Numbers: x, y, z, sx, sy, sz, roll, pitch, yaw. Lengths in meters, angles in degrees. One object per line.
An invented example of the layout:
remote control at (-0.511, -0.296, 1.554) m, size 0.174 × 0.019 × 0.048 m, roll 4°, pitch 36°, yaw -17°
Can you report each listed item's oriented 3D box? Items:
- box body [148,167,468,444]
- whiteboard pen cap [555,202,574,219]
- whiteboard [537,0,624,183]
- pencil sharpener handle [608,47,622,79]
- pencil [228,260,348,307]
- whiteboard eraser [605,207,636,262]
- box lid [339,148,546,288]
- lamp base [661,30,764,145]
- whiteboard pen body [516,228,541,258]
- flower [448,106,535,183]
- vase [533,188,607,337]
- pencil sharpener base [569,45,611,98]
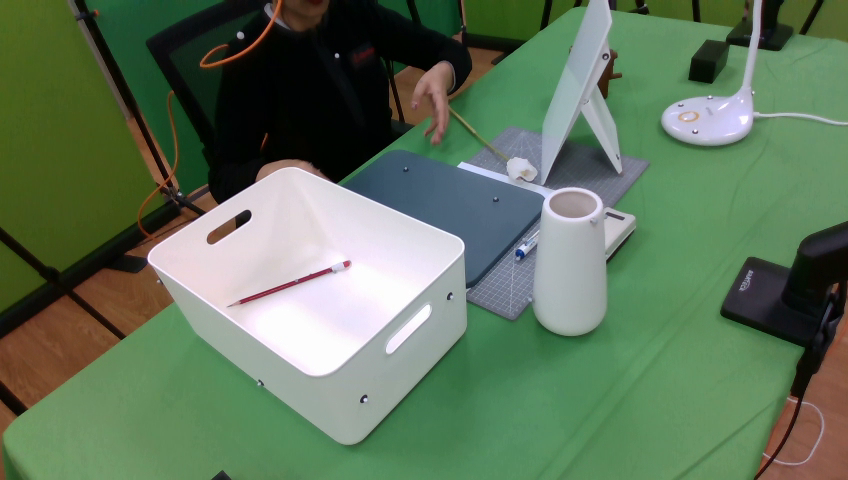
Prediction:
box body at (-0.147, 0.072, 0.816) m, size 0.361 × 0.161 × 0.255 m, roll 24°, pitch 50°, yaw 33°
whiteboard pen cap at (0.230, -0.048, 0.994) m, size 0.018 × 0.018 × 0.033 m, roll 26°, pitch 54°, yaw 34°
whiteboard at (0.316, -0.256, 1.047) m, size 0.144 × 0.306 × 0.216 m, roll 15°, pitch 42°, yaw -1°
pencil sharpener handle at (0.395, -0.369, 1.254) m, size 0.031 × 0.068 × 0.036 m, roll -10°, pitch 32°, yaw -1°
pencil at (-0.210, 0.068, 0.942) m, size 0.194 × 0.012 × 0.012 m, roll -20°, pitch 42°, yaw -12°
whiteboard eraser at (0.272, -0.003, 0.919) m, size 0.055 × 0.042 × 0.113 m, roll 27°, pitch 51°, yaw 32°
box lid at (-0.002, -0.055, 1.052) m, size 0.368 × 0.015 × 0.264 m, roll 23°, pitch 49°, yaw 32°
lamp base at (0.535, -0.287, 1.096) m, size 0.179 × 0.181 × 0.159 m, roll -10°, pitch 40°, yaw -4°
whiteboard pen body at (0.192, -0.015, 0.964) m, size 0.017 × 0.017 × 0.141 m, roll 26°, pitch 51°, yaw 34°
flower at (0.118, -0.203, 1.200) m, size 0.044 × 0.038 × 0.358 m, roll -24°, pitch 38°, yaw -7°
vase at (0.187, 0.033, 0.771) m, size 0.098 × 0.201 × 0.097 m, roll -6°, pitch 41°, yaw 6°
pencil sharpener base at (0.346, -0.352, 1.262) m, size 0.077 × 0.107 × 0.061 m, roll -10°, pitch 40°, yaw -1°
